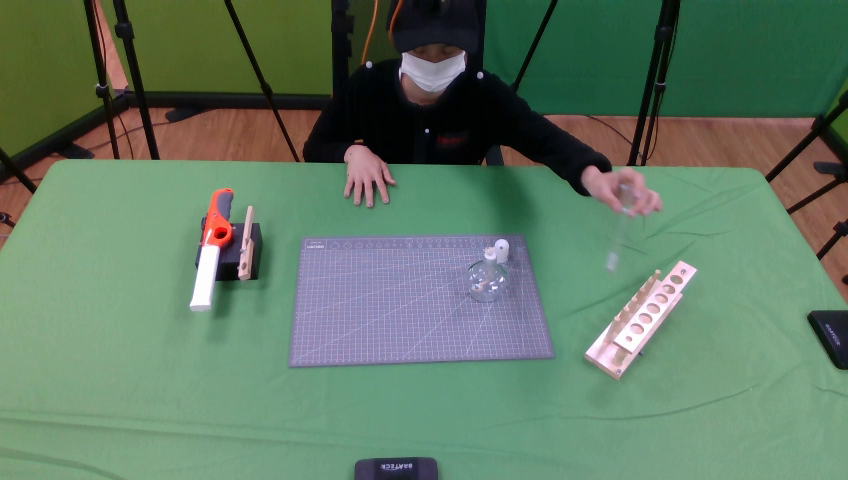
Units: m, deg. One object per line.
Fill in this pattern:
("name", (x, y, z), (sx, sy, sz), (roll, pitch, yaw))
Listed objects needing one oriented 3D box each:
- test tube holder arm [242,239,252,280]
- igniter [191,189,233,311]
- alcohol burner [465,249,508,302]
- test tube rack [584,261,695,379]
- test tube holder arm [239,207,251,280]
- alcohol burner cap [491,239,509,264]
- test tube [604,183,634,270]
("test tube holder arm", (-0.314, 0.034, 1.076), (0.010, 0.015, 0.087), (-8, 47, -3))
("igniter", (-0.381, 0.008, 1.092), (0.057, 0.025, 0.274), (-1, 49, -6))
("alcohol burner", (0.114, 0.057, 1.085), (0.078, 0.120, 0.077), (2, 48, -2))
("test tube rack", (0.380, 0.127, 1.062), (0.066, 0.085, 0.242), (34, 53, 26))
("test tube holder arm", (-0.326, 0.002, 1.106), (0.013, 0.015, 0.177), (-9, 47, -4))
("alcohol burner cap", (0.150, 0.020, 1.174), (0.034, 0.048, 0.033), (2, 46, -1))
("test tube", (0.299, -0.018, 0.932), (0.017, 0.151, 0.017), (2, 31, -1))
